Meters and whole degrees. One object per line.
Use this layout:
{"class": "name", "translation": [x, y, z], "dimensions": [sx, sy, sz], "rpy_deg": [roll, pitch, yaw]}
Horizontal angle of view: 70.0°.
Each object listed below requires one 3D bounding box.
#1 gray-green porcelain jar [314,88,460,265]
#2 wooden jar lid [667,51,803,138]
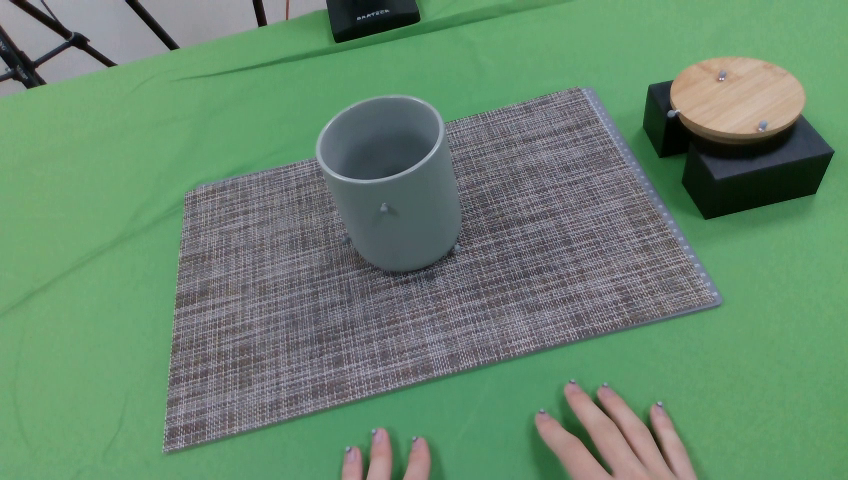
{"class": "gray-green porcelain jar", "translation": [-0.026, -0.048, 0.524], "dimensions": [0.106, 0.128, 0.105], "rpy_deg": [-6, 50, 8]}
{"class": "wooden jar lid", "translation": [0.271, -0.128, 0.534], "dimensions": [0.108, 0.021, 0.107], "rpy_deg": [-6, 52, 8]}
